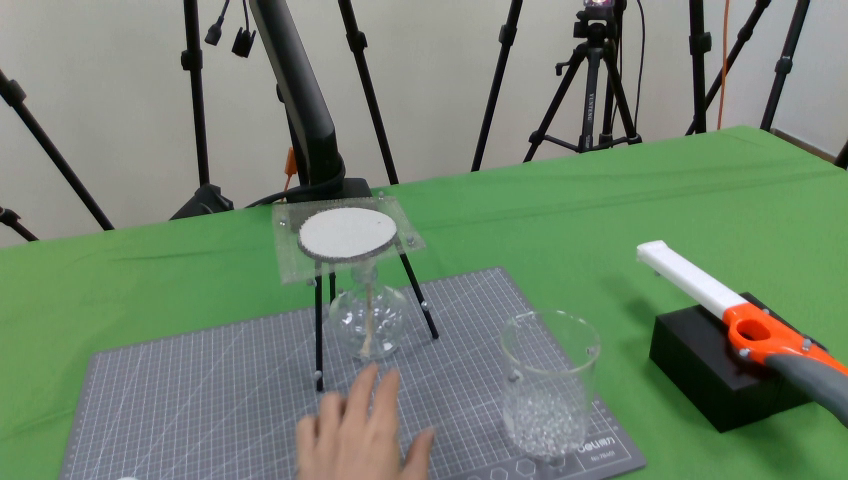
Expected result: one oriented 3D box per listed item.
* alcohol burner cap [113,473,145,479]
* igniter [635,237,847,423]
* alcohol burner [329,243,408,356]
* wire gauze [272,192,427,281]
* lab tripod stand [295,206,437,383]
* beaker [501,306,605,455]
[{"bbox_3d":[-0.212,0.190,0.441,0.034,0.048,0.033,-2,33,2],"label":"alcohol burner cap"},{"bbox_3d":[0.276,0.066,0.525,0.057,0.025,0.273,-13,30,-13],"label":"igniter"},{"bbox_3d":[-0.054,0.053,0.579,0.078,0.120,0.077,-1,33,1],"label":"alcohol burner"},{"bbox_3d":[-0.070,-0.011,0.536,0.122,0.011,0.123,-10,33,-13],"label":"wire gauze"},{"bbox_3d":[-0.063,0.043,0.576,0.148,0.132,0.147,-1,30,1],"label":"lab tripod stand"},{"bbox_3d":[0.096,0.112,0.482,0.074,0.101,0.083,-21,36,-26],"label":"beaker"}]
